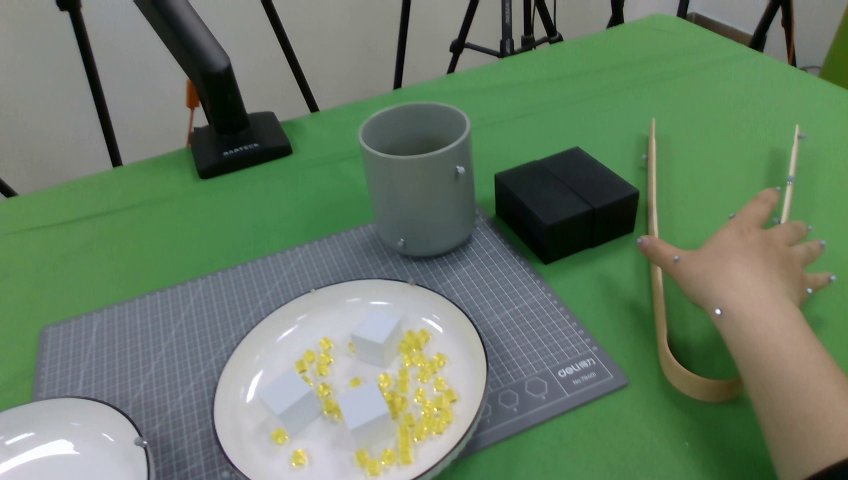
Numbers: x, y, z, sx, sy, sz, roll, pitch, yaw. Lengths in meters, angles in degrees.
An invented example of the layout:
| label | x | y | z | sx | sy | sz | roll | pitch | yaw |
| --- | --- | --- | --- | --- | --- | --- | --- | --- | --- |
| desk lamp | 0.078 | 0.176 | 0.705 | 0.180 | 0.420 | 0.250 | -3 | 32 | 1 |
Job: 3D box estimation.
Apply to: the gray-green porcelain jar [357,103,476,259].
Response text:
| label | x | y | z | sx | sy | sz | roll | pitch | yaw |
| --- | --- | --- | --- | --- | --- | --- | --- | --- | --- |
| gray-green porcelain jar | -0.003 | -0.054 | 0.593 | 0.106 | 0.128 | 0.105 | -4 | 40 | 4 |

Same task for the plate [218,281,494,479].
| label | x | y | z | sx | sy | sz | roll | pitch | yaw |
| --- | --- | --- | --- | --- | --- | --- | --- | --- | --- |
| plate | -0.050 | 0.115 | 0.469 | 0.207 | 0.039 | 0.205 | -4 | 39 | 4 |

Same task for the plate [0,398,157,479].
| label | x | y | z | sx | sy | sz | roll | pitch | yaw |
| --- | --- | --- | --- | --- | --- | --- | --- | --- | --- |
| plate | -0.278 | 0.201 | 0.399 | 0.209 | 0.038 | 0.207 | -5 | 40 | 5 |

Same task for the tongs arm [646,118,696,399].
| label | x | y | z | sx | sy | sz | roll | pitch | yaw |
| --- | --- | --- | --- | --- | --- | --- | --- | --- | --- |
| tongs arm | 0.232 | -0.013 | 0.591 | 0.028 | 0.028 | 0.384 | 6 | 42 | 12 |

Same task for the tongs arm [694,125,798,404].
| label | x | y | z | sx | sy | sz | roll | pitch | yaw |
| --- | --- | --- | --- | --- | --- | --- | --- | --- | --- |
| tongs arm | 0.308 | -0.003 | 0.561 | 0.050 | 0.027 | 0.383 | 14 | 45 | 24 |
